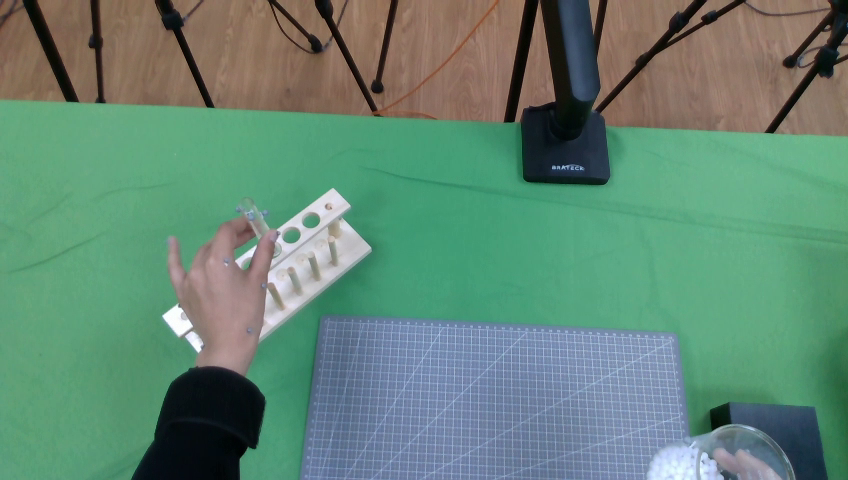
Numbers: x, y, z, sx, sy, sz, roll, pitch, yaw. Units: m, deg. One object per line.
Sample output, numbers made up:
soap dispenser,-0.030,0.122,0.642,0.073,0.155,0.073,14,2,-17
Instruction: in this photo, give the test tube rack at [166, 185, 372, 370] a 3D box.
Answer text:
test tube rack,-0.178,0.045,0.737,0.242,0.086,0.066,-40,73,-17

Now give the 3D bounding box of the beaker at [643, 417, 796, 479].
beaker,0.220,0.186,0.469,0.074,0.101,0.083,28,67,7

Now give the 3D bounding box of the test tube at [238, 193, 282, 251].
test tube,-0.168,-0.015,0.632,0.017,0.151,0.017,1,73,-3
